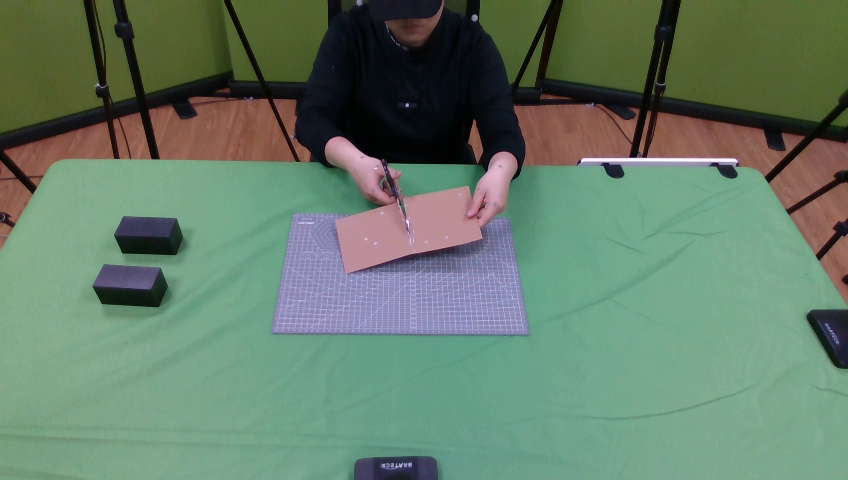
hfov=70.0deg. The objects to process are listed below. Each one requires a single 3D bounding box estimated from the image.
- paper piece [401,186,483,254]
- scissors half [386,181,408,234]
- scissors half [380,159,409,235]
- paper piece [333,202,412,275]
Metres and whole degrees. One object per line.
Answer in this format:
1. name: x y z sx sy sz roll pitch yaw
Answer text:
1. paper piece: 0.033 -0.041 1.170 0.138 0.009 0.135 -9 61 -2
2. scissors half: -0.055 -0.076 1.214 0.013 0.040 0.174 -17 50 -4
3. scissors half: -0.057 -0.086 1.195 0.013 0.040 0.174 -20 72 1
4. paper piece: -0.102 -0.007 1.171 0.135 0.004 0.135 -17 53 1
